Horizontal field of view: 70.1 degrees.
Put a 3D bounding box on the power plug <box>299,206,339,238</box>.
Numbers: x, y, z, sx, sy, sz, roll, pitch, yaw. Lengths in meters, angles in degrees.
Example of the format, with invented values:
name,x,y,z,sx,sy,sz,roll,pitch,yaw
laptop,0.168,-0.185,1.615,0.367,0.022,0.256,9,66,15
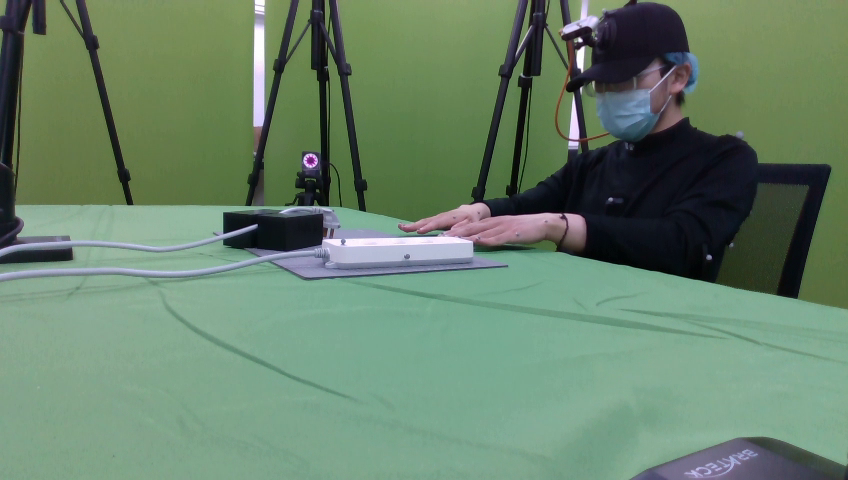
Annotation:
name,x,y,z,sx,sy,sz,roll,pitch,yaw
power plug,-0.179,-0.031,1.022,0.073,0.052,0.035,7,9,-19

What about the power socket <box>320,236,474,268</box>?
name,x,y,z,sx,sy,sz,roll,pitch,yaw
power socket,-0.033,0.014,0.823,0.228,0.032,0.072,-2,8,-30
